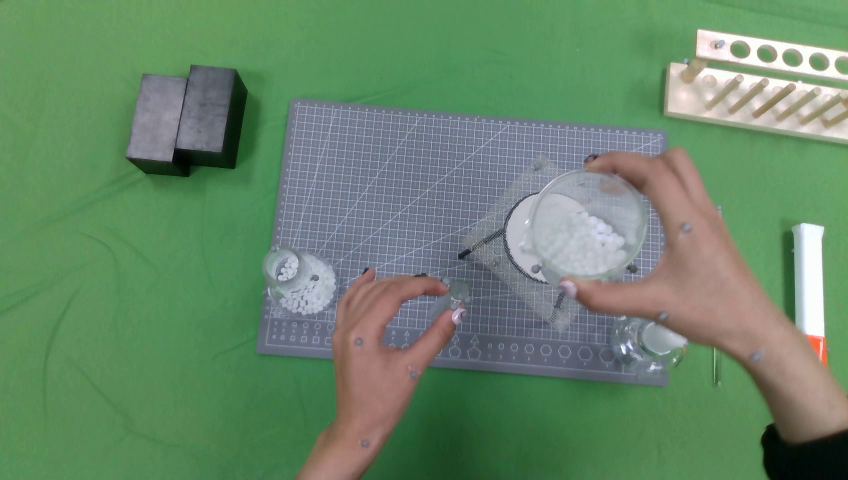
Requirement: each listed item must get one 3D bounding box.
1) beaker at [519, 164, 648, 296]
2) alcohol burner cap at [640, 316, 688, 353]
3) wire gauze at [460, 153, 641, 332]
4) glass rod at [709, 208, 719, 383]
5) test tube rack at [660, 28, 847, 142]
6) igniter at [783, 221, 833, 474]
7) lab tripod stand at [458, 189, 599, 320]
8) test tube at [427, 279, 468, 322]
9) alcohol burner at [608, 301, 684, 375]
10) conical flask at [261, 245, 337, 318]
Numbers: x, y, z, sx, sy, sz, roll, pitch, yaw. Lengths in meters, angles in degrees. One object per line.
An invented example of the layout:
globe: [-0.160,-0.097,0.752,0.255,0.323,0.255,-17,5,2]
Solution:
beaker: [0.112,0.000,0.436,0.084,0.101,0.073,-21,72,7]
alcohol burner cap: [0.234,0.088,0.583,0.034,0.048,0.033,2,71,-5]
wire gauze: [0.116,-0.001,0.556,0.125,0.011,0.121,41,81,7]
glass rod: [0.329,0.060,0.686,0.008,0.008,0.199,6,80,-1]
test tube rack: [0.412,-0.175,0.701,0.242,0.085,0.066,8,77,0]
igniter: [0.422,0.114,0.668,0.057,0.025,0.275,9,78,-11]
lab tripod stand: [0.112,0.011,0.623,0.148,0.132,0.147,0,79,0]
test tube: [0.017,0.053,0.503,0.017,0.150,0.017,1,76,-6]
alcohol burner: [0.232,0.098,0.618,0.078,0.119,0.077,0,77,1]
conical flask: [-0.132,0.036,0.614,0.075,0.122,0.075,0,77,-2]
